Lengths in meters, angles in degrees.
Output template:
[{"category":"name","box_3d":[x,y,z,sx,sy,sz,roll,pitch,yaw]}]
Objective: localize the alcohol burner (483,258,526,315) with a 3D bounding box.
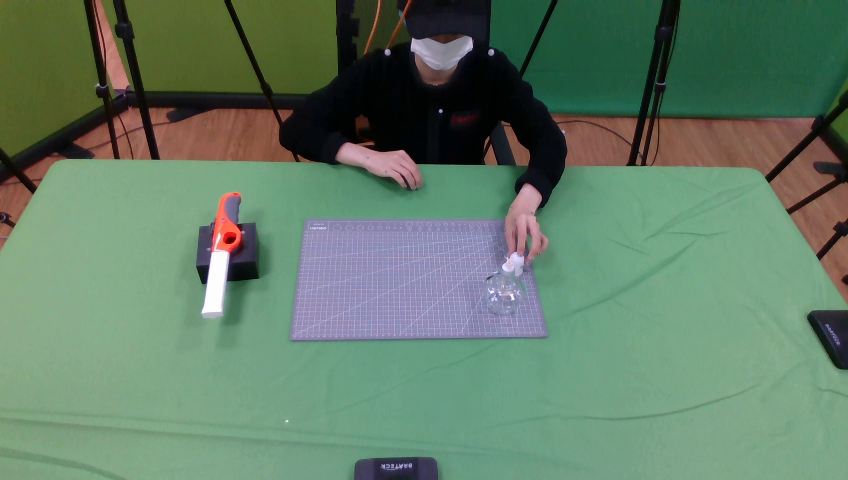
[{"category":"alcohol burner","box_3d":[0.143,0.076,1.067,0.078,0.120,0.077,1,45,-1]}]

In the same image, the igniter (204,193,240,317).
[{"category":"igniter","box_3d":[-0.361,0.017,1.084,0.057,0.025,0.274,-3,51,-6]}]

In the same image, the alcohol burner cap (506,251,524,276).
[{"category":"alcohol burner cap","box_3d":[0.175,0.043,1.151,0.034,0.048,0.033,1,46,-1]}]
